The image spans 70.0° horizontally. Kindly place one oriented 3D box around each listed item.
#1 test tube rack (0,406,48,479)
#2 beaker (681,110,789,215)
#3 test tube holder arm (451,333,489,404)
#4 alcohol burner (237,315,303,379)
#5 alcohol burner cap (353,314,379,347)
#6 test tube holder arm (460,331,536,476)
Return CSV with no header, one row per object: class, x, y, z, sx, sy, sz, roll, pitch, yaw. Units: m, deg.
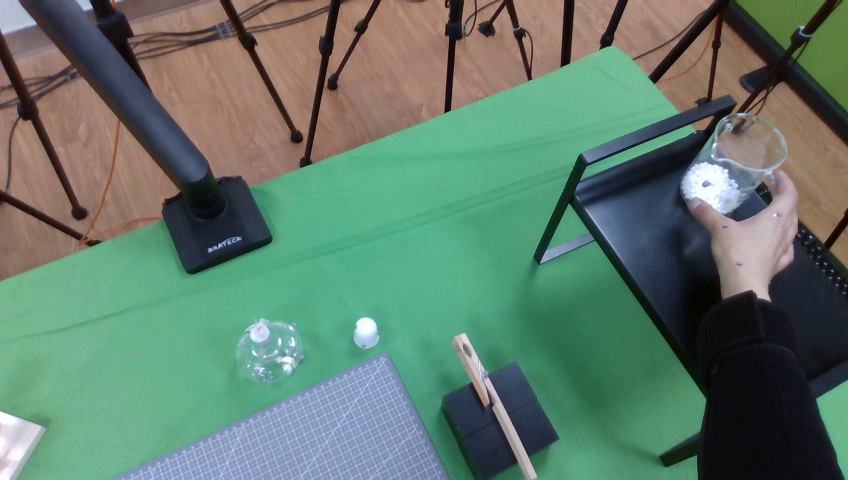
test tube rack,-0.505,0.285,0.618,0.066,0.086,0.241,17,62,6
beaker,0.330,-0.079,0.659,0.084,0.101,0.073,-21,65,-13
test tube holder arm,0.057,0.150,0.712,0.010,0.015,0.087,-18,65,-24
alcohol burner,-0.184,0.120,0.713,0.078,0.120,0.077,2,60,-4
alcohol burner cap,-0.073,0.112,0.766,0.034,0.048,0.033,2,61,-3
test tube holder arm,0.081,0.185,0.697,0.013,0.015,0.177,-18,65,-24
